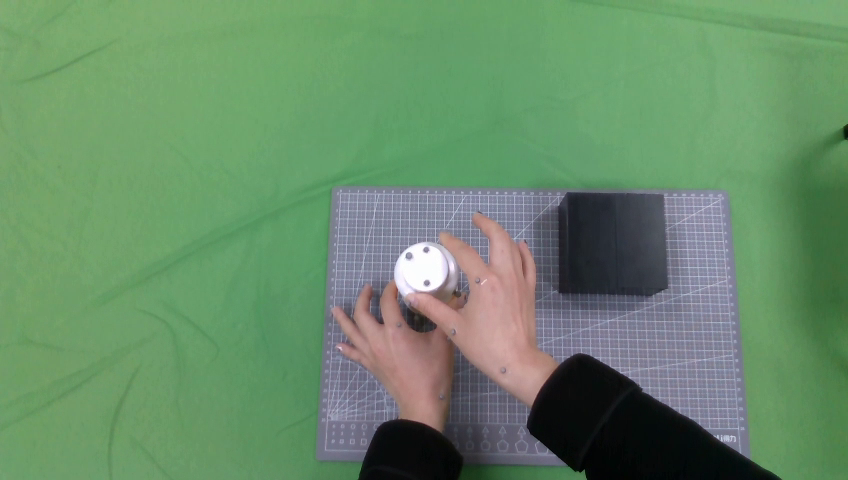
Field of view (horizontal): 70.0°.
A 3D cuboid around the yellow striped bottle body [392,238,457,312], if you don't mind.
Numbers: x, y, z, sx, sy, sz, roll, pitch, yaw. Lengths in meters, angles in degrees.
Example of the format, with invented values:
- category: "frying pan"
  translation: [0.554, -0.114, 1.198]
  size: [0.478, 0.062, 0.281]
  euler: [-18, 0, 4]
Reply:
- category: "yellow striped bottle body"
  translation: [0.002, 0.036, 0.613]
  size: [0.063, 0.121, 0.062]
  euler: [0, 77, 2]

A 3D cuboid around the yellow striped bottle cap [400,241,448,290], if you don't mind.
- category: "yellow striped bottle cap"
  translation: [0.000, 0.023, 0.562]
  size: [0.044, 0.019, 0.044]
  euler: [-1, 76, 2]
